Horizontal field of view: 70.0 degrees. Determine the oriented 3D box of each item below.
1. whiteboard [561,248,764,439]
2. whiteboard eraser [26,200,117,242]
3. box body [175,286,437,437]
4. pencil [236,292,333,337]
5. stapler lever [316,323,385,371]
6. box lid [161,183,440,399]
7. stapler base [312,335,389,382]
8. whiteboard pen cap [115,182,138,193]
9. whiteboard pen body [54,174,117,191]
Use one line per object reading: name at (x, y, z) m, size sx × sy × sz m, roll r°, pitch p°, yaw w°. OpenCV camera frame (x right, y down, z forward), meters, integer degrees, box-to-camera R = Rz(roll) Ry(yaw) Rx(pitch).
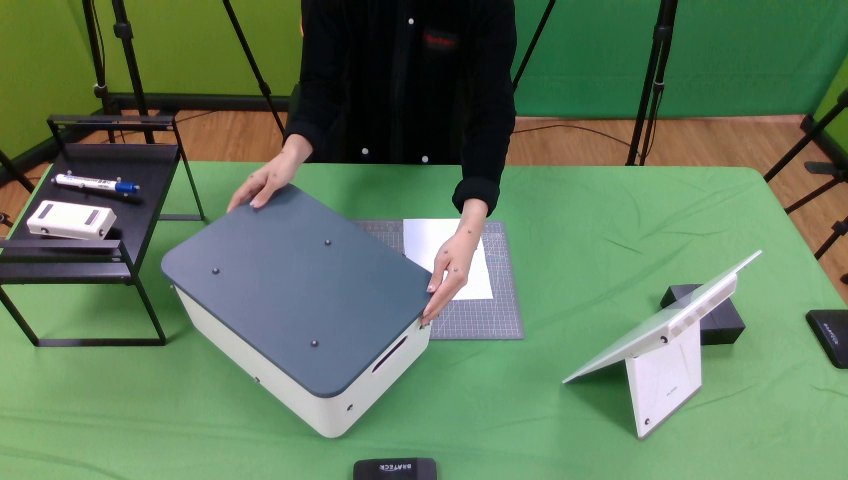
whiteboard at (0.386, 0.176, 0.905) m, size 0.217 × 0.306 × 0.143 m, roll -26°, pitch 72°, yaw -27°
whiteboard eraser at (-0.532, -0.026, 0.919) m, size 0.113 × 0.042 × 0.055 m, roll 7°, pitch 45°, yaw 3°
box body at (-0.190, 0.109, 0.980) m, size 0.362 × 0.161 × 0.254 m, roll 32°, pitch 52°, yaw 23°
pencil at (-0.244, 0.131, 1.056) m, size 0.194 × 0.012 × 0.012 m, roll 22°, pitch 49°, yaw 12°
stapler lever at (-0.121, 0.171, 0.978) m, size 0.118 × 0.040 × 0.027 m, roll 21°, pitch 51°, yaw 14°
box lid at (-0.186, 0.056, 0.920) m, size 0.370 × 0.015 × 0.263 m, roll 31°, pitch 53°, yaw 23°
stapler base at (-0.123, 0.189, 0.997) m, size 0.130 × 0.024 × 0.041 m, roll 20°, pitch 51°, yaw 15°
whiteboard pen cap at (-0.483, -0.086, 0.984) m, size 0.033 × 0.018 × 0.018 m, roll 7°, pitch 46°, yaw 10°
whiteboard pen body at (-0.541, -0.093, 0.993) m, size 0.140 × 0.017 × 0.017 m, roll 7°, pitch 46°, yaw 8°
